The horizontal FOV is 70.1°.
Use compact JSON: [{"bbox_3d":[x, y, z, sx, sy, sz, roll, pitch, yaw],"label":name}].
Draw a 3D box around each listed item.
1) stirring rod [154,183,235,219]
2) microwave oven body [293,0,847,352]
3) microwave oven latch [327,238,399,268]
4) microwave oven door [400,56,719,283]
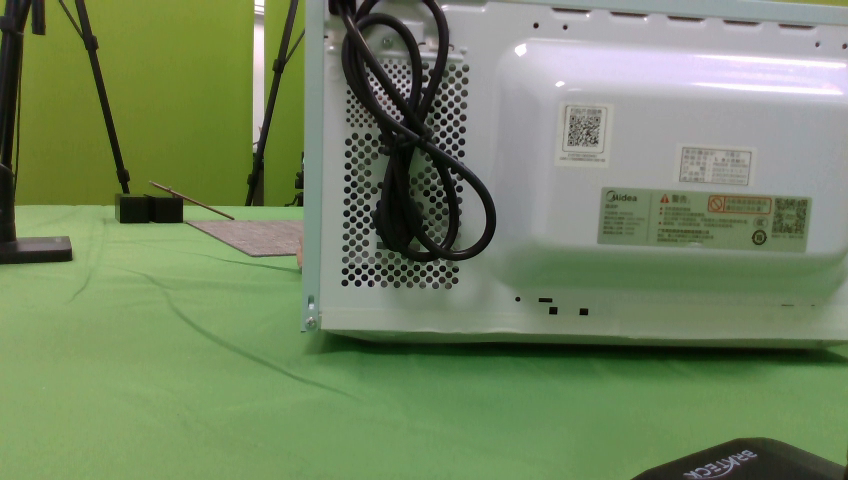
[{"bbox_3d":[-0.472,-0.079,1.252,0.177,0.006,0.014,27,4,-35],"label":"stirring rod"},{"bbox_3d":[0.122,-0.055,0.550,0.442,0.260,0.325,3,7,-5],"label":"microwave oven body"},{"bbox_3d":[-0.069,0.015,0.694,0.079,0.029,0.030,3,7,-3],"label":"microwave oven latch"},{"bbox_3d":[0.155,-0.077,0.697,0.356,0.243,0.039,2,8,-5],"label":"microwave oven door"}]
